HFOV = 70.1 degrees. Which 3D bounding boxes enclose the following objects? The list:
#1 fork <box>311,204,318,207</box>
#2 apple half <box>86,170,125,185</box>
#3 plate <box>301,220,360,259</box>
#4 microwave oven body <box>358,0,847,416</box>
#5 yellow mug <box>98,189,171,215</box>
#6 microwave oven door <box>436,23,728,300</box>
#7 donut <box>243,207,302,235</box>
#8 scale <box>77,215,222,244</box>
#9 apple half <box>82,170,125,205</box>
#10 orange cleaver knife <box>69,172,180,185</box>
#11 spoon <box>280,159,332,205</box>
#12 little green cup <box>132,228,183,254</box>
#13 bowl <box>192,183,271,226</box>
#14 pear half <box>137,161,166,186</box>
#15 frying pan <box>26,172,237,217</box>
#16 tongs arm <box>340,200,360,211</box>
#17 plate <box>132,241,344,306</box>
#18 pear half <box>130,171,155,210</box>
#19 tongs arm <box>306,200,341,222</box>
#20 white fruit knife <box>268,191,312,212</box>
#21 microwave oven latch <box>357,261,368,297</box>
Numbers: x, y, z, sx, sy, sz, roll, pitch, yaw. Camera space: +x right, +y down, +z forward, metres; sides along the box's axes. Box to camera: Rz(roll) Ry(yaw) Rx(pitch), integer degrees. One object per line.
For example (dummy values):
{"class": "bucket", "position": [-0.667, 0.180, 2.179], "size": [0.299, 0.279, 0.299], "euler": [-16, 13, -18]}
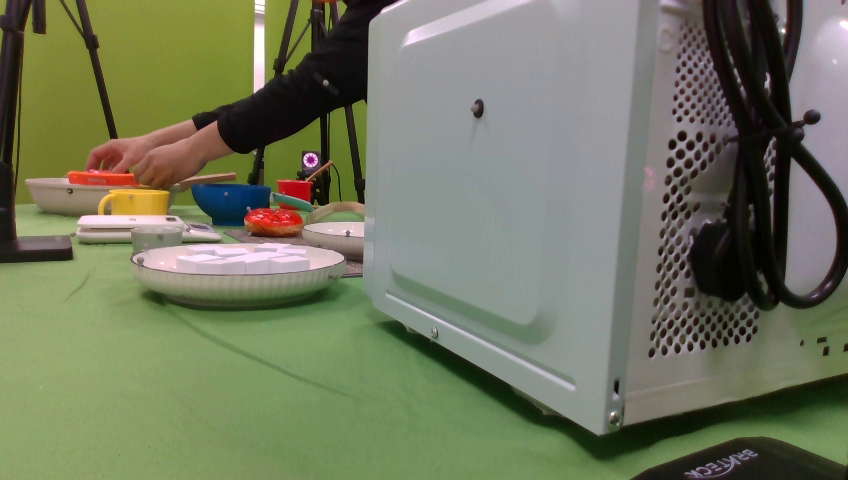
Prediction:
{"class": "fork", "position": [-0.356, -0.105, 1.526], "size": [0.208, 0.018, 0.028], "euler": [16, -6, -41]}
{"class": "apple half", "position": [-0.660, -0.109, 1.266], "size": [0.032, 0.081, 0.082], "euler": [12, 12, 39]}
{"class": "plate", "position": [-0.077, -0.002, 0.893], "size": [0.209, 0.038, 0.209], "euler": [3, 8, 0]}
{"class": "microwave oven body", "position": [0.211, -0.047, 0.475], "size": [0.444, 0.260, 0.324], "euler": [-1, 7, -28]}
{"class": "yellow mug", "position": [-0.519, -0.055, 1.080], "size": [0.099, 0.064, 0.131], "euler": [7, 10, 26]}
{"class": "microwave oven door", "position": [0.180, -0.073, 0.621], "size": [0.358, 0.243, 0.039], "euler": [-2, 9, -29]}
{"class": "donut", "position": [-0.261, -0.032, 1.043], "size": [0.099, 0.048, 0.099], "euler": [4, 9, 0]}
{"class": "scale", "position": [-0.434, -0.018, 0.963], "size": [0.202, 0.031, 0.148], "euler": [-1, 8, -27]}
{"class": "apple half", "position": [-0.688, -0.113, 1.289], "size": [0.053, 0.074, 0.081], "euler": [8, 10, 40]}
{"class": "orange cleaver knife", "position": [-0.593, -0.121, 1.200], "size": [0.212, 0.012, 0.077], "euler": [-1, -11, -12]}
{"class": "spoon", "position": [-0.316, -0.158, 1.640], "size": [0.194, 0.022, 0.041], "euler": [-50, 32, -20]}
{"class": "little green cup", "position": [-0.342, 0.006, 0.779], "size": [0.061, 0.038, 0.061], "euler": [2, 8, 0]}
{"class": "bowl", "position": [-0.382, -0.070, 1.202], "size": [0.151, 0.077, 0.151], "euler": [3, 7, 0]}
{"class": "pear half", "position": [-0.602, -0.120, 1.354], "size": [0.056, 0.110, 0.076], "euler": [4, 11, 6]}
{"class": "frying pan", "position": [-0.624, -0.118, 1.387], "size": [0.305, 0.102, 0.490], "euler": [8, 17, 32]}
{"class": "tongs arm", "position": [-0.149, -0.070, 1.429], "size": [0.051, 0.026, 0.383], "euler": [-5, 9, -14]}
{"class": "plate", "position": [-0.187, 0.033, 0.625], "size": [0.208, 0.039, 0.207], "euler": [2, 8, 0]}
{"class": "pear half", "position": [-0.639, -0.113, 1.361], "size": [0.031, 0.088, 0.070], "euler": [7, 11, 8]}
{"class": "tongs arm", "position": [-0.234, -0.067, 1.414], "size": [0.028, 0.028, 0.387], "euler": [-6, 8, 1]}
{"class": "white fruit knife", "position": [-0.364, -0.105, 1.464], "size": [0.208, 0.027, 0.016], "euler": [15, 0, -34]}
{"class": "microwave oven latch", "position": [-0.019, 0.033, 0.531], "size": [0.079, 0.029, 0.030], "euler": [-1, 7, -27]}
